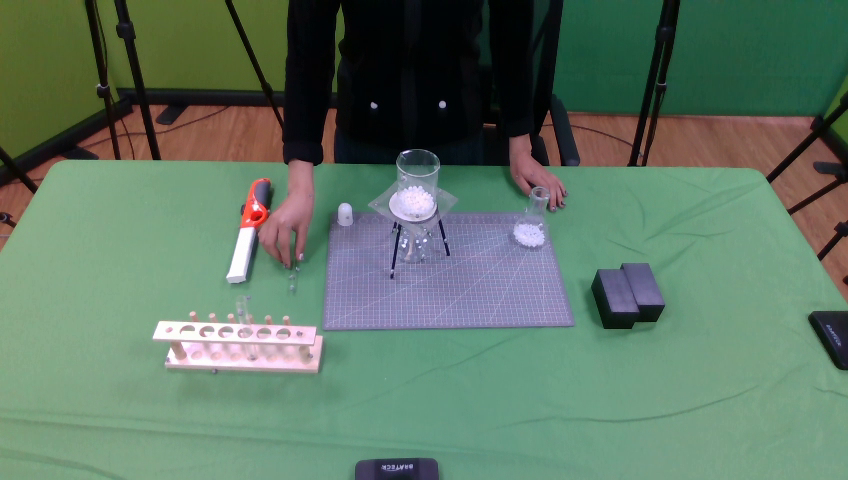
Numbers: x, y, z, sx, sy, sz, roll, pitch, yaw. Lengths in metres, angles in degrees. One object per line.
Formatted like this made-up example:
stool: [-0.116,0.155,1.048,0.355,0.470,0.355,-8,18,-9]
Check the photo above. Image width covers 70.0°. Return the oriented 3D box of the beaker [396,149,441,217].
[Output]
beaker: [-0.015,-0.098,1.054,0.074,0.101,0.083,-32,55,-31]

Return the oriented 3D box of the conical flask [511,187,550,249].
conical flask: [0.217,-0.048,1.190,0.075,0.122,0.075,2,46,-2]

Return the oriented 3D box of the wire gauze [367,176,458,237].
wire gauze: [-0.020,-0.066,1.089,0.124,0.011,0.121,27,47,22]

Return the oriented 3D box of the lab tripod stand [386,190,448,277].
lab tripod stand: [-0.021,-0.018,1.135,0.148,0.132,0.147,3,44,-3]

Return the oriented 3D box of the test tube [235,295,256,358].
test tube: [-0.274,0.136,0.933,0.017,0.151,0.017,4,46,-4]

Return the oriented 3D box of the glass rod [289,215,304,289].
glass rod: [-0.247,0.019,1.171,0.008,0.008,0.198,0,44,-3]

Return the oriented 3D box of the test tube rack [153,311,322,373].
test tube rack: [-0.293,0.160,0.978,0.242,0.085,0.066,3,46,-2]

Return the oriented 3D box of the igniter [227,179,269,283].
igniter: [-0.345,-0.027,1.195,0.057,0.025,0.274,-6,46,4]

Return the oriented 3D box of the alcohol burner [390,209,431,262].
alcohol burner: [-0.024,-0.014,1.144,0.078,0.119,0.077,4,45,-3]

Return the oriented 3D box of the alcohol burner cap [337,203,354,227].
alcohol burner cap: [-0.161,-0.054,1.221,0.034,0.048,0.033,-3,51,4]
